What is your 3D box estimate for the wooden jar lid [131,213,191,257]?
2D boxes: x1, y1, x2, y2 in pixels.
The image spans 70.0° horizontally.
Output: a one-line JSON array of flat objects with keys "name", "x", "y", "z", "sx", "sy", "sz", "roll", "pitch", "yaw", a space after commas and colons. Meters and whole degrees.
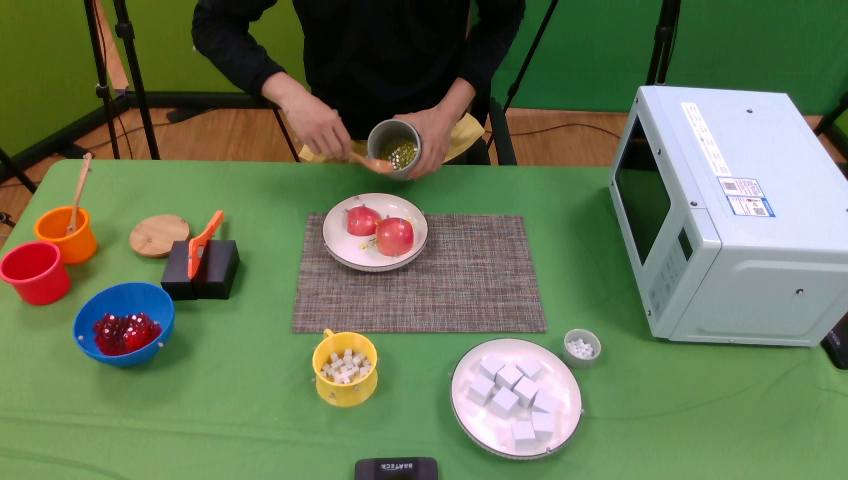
[{"name": "wooden jar lid", "x": -0.504, "y": -0.008, "z": 1.167, "sx": 0.108, "sy": 0.021, "sz": 0.107, "roll": 3, "pitch": 46, "yaw": -3}]

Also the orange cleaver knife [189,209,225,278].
[{"name": "orange cleaver knife", "x": -0.401, "y": 0.002, "z": 1.122, "sx": 0.012, "sy": 0.077, "sz": 0.210, "roll": 3, "pitch": 22, "yaw": -4}]

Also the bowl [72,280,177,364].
[{"name": "bowl", "x": -0.473, "y": 0.147, "z": 0.982, "sx": 0.151, "sy": 0.077, "sz": 0.150, "roll": 2, "pitch": 46, "yaw": -2}]

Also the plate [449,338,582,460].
[{"name": "plate", "x": 0.141, "y": 0.251, "z": 0.956, "sx": 0.208, "sy": 0.039, "sz": 0.206, "roll": 2, "pitch": 46, "yaw": -2}]

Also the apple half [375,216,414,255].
[{"name": "apple half", "x": -0.056, "y": -0.017, "z": 1.169, "sx": 0.075, "sy": 0.053, "sz": 0.080, "roll": 0, "pitch": 46, "yaw": -7}]

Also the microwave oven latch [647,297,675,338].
[{"name": "microwave oven latch", "x": 0.413, "y": 0.133, "z": 1.060, "sx": 0.030, "sy": 0.029, "sz": 0.078, "roll": 5, "pitch": 46, "yaw": 2}]

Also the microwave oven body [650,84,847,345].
[{"name": "microwave oven body", "x": 0.569, "y": -0.054, "z": 1.116, "sx": 0.326, "sy": 0.261, "sz": 0.439, "roll": 2, "pitch": 46, "yaw": -1}]

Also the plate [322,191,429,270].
[{"name": "plate", "x": -0.093, "y": -0.015, "z": 1.185, "sx": 0.209, "sy": 0.038, "sz": 0.208, "roll": 2, "pitch": 46, "yaw": -2}]

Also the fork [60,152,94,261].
[{"name": "fork", "x": -0.638, "y": -0.063, "z": 1.119, "sx": 0.028, "sy": 0.018, "sz": 0.207, "roll": 12, "pitch": 90, "yaw": 8}]

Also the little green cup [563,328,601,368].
[{"name": "little green cup", "x": 0.265, "y": 0.184, "z": 1.025, "sx": 0.061, "sy": 0.039, "sz": 0.061, "roll": 1, "pitch": 46, "yaw": -1}]

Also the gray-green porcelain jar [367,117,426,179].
[{"name": "gray-green porcelain jar", "x": -0.052, "y": -0.182, "z": 1.229, "sx": 0.106, "sy": 0.126, "sz": 0.105, "roll": 0, "pitch": 87, "yaw": 6}]

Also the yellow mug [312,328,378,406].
[{"name": "yellow mug", "x": -0.132, "y": 0.193, "z": 0.971, "sx": 0.100, "sy": 0.064, "sz": 0.130, "roll": -22, "pitch": 51, "yaw": -22}]

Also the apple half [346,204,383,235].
[{"name": "apple half", "x": -0.119, "y": -0.049, "z": 1.207, "sx": 0.081, "sy": 0.033, "sz": 0.081, "roll": 2, "pitch": 50, "yaw": -2}]

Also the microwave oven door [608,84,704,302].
[{"name": "microwave oven door", "x": 0.424, "y": -0.096, "z": 1.138, "sx": 0.039, "sy": 0.245, "sz": 0.353, "roll": 3, "pitch": 46, "yaw": -1}]

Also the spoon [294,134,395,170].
[{"name": "spoon", "x": -0.141, "y": -0.162, "z": 1.099, "sx": 0.194, "sy": 0.022, "sz": 0.041, "roll": 17, "pitch": 37, "yaw": -29}]
